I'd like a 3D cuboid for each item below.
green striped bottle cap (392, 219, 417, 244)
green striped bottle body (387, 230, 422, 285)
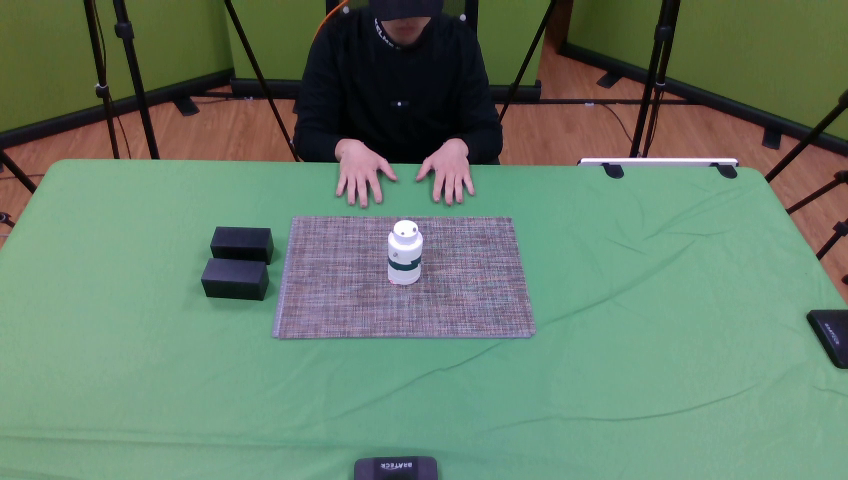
[{"bbox_3d":[-0.034,-0.015,1.065,0.044,0.020,0.044,4,45,-4],"label":"green striped bottle cap"},{"bbox_3d":[-0.036,0.021,1.102,0.063,0.120,0.063,2,46,-2],"label":"green striped bottle body"}]
